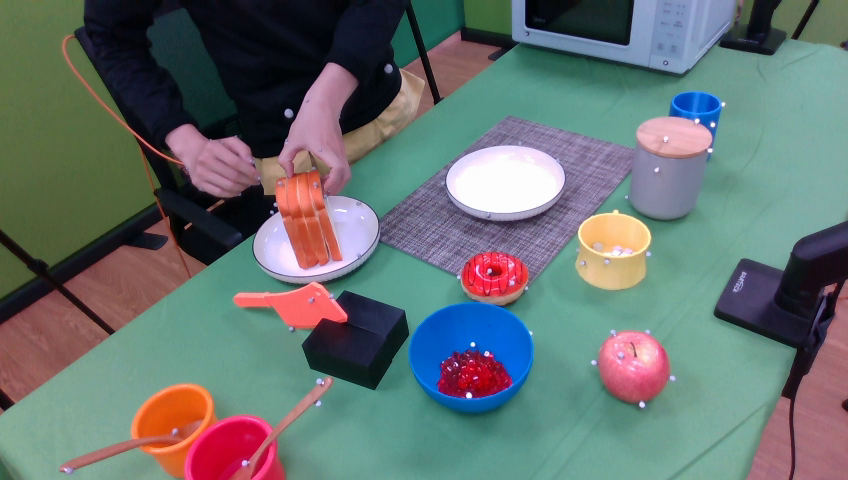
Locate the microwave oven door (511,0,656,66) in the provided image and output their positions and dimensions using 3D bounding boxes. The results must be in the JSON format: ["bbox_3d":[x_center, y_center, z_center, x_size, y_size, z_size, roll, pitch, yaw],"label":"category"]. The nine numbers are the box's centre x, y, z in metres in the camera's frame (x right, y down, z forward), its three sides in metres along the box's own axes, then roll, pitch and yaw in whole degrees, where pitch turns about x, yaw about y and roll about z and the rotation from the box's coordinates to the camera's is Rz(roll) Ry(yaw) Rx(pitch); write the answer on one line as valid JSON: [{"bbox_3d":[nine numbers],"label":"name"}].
[{"bbox_3d":[0.351,-0.539,1.349,0.353,0.245,0.039,24,50,31],"label":"microwave oven door"}]

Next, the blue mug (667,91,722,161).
[{"bbox_3d":[0.474,-0.207,1.079,0.082,0.106,0.116,4,42,13],"label":"blue mug"}]

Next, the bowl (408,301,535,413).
[{"bbox_3d":[0.060,0.156,0.739,0.151,0.077,0.150,-4,40,4],"label":"bowl"}]

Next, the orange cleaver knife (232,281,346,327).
[{"bbox_3d":[-0.192,0.093,0.844,0.210,0.077,0.012,-7,31,38],"label":"orange cleaver knife"}]

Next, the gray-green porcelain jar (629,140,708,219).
[{"bbox_3d":[0.383,-0.105,0.958,0.106,0.127,0.105,-4,41,4],"label":"gray-green porcelain jar"}]

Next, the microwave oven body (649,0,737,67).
[{"bbox_3d":[0.475,-0.602,1.411,0.438,0.261,0.327,23,50,32],"label":"microwave oven body"}]

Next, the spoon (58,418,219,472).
[{"bbox_3d":[-0.304,0.221,0.661,0.041,0.195,0.021,20,92,27],"label":"spoon"}]

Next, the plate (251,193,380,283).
[{"bbox_3d":[-0.173,-0.001,0.984,0.209,0.038,0.208,-4,41,4],"label":"plate"}]

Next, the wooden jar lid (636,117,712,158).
[{"bbox_3d":[0.377,-0.151,0.917,0.108,0.021,0.108,-2,41,2],"label":"wooden jar lid"}]

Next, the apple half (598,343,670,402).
[{"bbox_3d":[0.247,0.161,0.710,0.081,0.075,0.053,2,47,5],"label":"apple half"}]

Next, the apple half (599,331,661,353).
[{"bbox_3d":[0.249,0.134,0.738,0.081,0.081,0.032,-2,46,7],"label":"apple half"}]

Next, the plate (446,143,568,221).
[{"bbox_3d":[0.142,-0.097,1.045,0.207,0.039,0.206,-4,40,4],"label":"plate"}]

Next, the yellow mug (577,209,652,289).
[{"bbox_3d":[0.279,0.004,0.893,0.099,0.064,0.130,5,41,15],"label":"yellow mug"}]

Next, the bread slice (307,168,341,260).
[{"bbox_3d":[-0.158,-0.045,0.952,0.018,0.135,0.106,-15,44,-5],"label":"bread slice"}]

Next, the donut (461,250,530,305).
[{"bbox_3d":[0.103,0.053,0.872,0.099,0.048,0.098,-4,40,4],"label":"donut"}]

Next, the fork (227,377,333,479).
[{"bbox_3d":[-0.163,0.216,0.647,0.207,0.019,0.028,-49,41,16],"label":"fork"}]

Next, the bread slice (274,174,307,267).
[{"bbox_3d":[-0.209,-0.037,0.947,0.019,0.132,0.104,-14,38,-4],"label":"bread slice"}]

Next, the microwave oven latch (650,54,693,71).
[{"bbox_3d":[0.531,-0.386,1.301,0.078,0.029,0.030,26,51,33],"label":"microwave oven latch"}]
